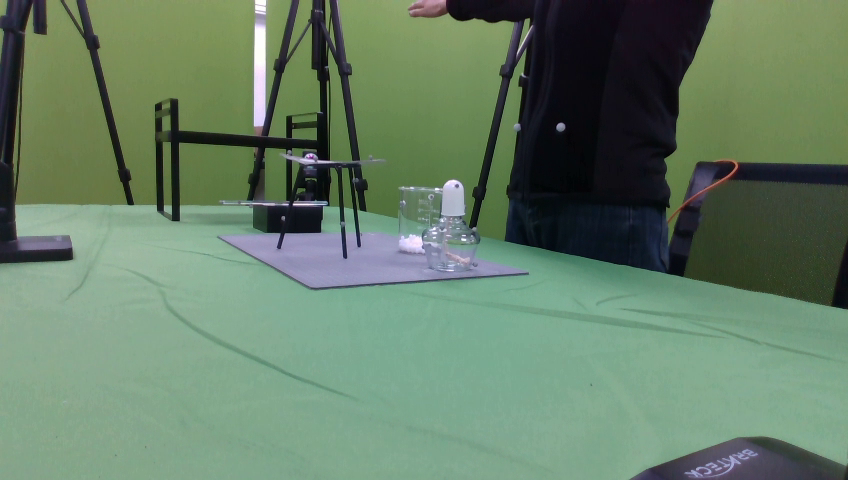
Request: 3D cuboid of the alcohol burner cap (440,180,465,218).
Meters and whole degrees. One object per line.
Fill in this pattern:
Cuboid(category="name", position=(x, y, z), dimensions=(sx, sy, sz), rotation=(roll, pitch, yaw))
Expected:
Cuboid(category="alcohol burner cap", position=(0.038, -0.054, 0.781), dimensions=(0.034, 0.048, 0.034), rotation=(0, 13, 0))

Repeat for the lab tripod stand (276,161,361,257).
Cuboid(category="lab tripod stand", position=(-0.143, -0.049, 0.884), dimensions=(0.148, 0.131, 0.148), rotation=(1, 9, 0))

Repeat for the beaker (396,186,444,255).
Cuboid(category="beaker", position=(-0.003, -0.030, 0.921), dimensions=(0.083, 0.100, 0.074), rotation=(8, 9, 31))

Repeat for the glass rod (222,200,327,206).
Cuboid(category="glass rod", position=(-0.276, -0.069, 1.134), dimensions=(0.201, 0.008, 0.008), rotation=(-1, 8, -33))

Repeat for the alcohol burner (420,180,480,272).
Cuboid(category="alcohol burner", position=(0.035, -0.018, 0.785), dimensions=(0.078, 0.119, 0.078), rotation=(3, 5, 0))

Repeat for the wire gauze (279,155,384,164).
Cuboid(category="wire gauze", position=(-0.134, -0.114, 0.875), dimensions=(0.122, 0.011, 0.124), rotation=(-2, 9, -30))
